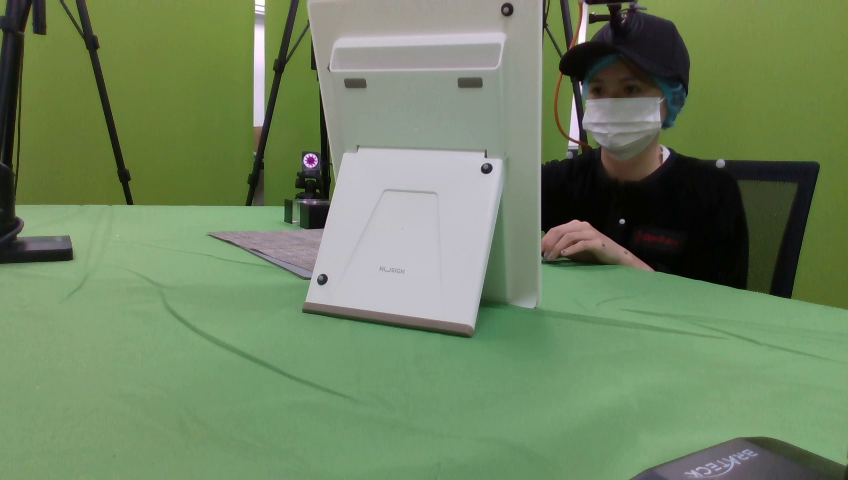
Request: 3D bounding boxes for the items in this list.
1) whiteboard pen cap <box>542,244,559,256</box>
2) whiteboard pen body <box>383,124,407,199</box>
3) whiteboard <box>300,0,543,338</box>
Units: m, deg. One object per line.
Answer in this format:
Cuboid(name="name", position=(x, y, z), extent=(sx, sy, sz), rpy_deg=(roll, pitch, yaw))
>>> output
Cuboid(name="whiteboard pen cap", position=(0.186, 0.015, 0.908), extent=(0.033, 0.018, 0.018), rpy_deg=(-3, 5, 22))
Cuboid(name="whiteboard pen body", position=(-0.034, -0.090, 0.684), extent=(0.017, 0.017, 0.140), rpy_deg=(3, 42, 3))
Cuboid(name="whiteboard", position=(-0.020, -0.050, 0.523), extent=(0.216, 0.305, 0.144), rpy_deg=(6, 27, 22))
